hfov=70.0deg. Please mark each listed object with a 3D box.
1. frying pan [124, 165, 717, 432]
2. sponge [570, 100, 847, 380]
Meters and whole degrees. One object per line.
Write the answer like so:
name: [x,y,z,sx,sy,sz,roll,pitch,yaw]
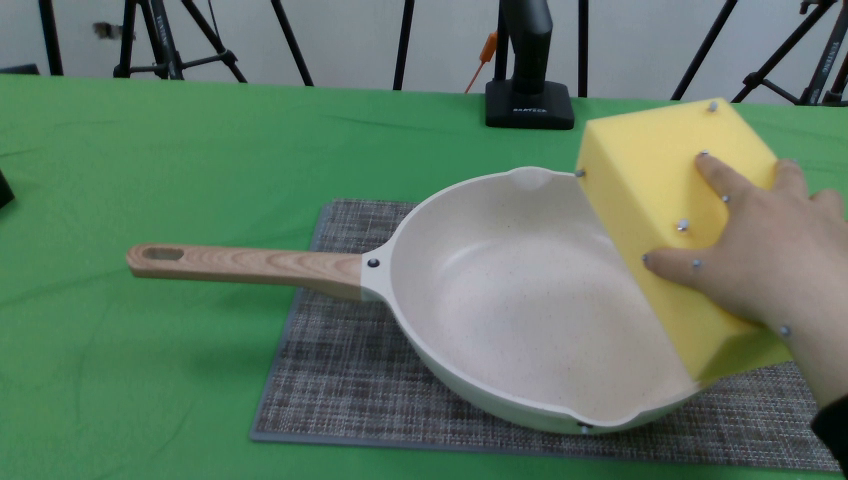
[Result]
frying pan: [0.007,0.032,0.510,0.489,0.103,0.303,6,39,-7]
sponge: [0.205,-0.012,0.445,0.118,0.061,0.204,-12,50,-8]
